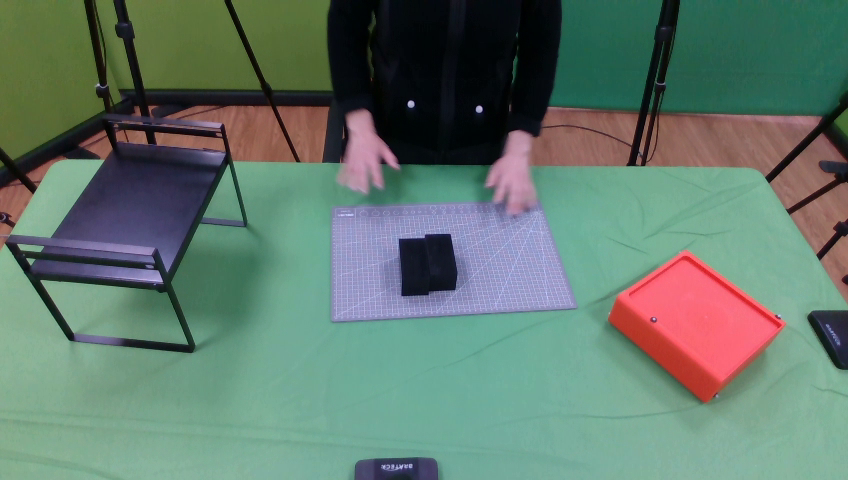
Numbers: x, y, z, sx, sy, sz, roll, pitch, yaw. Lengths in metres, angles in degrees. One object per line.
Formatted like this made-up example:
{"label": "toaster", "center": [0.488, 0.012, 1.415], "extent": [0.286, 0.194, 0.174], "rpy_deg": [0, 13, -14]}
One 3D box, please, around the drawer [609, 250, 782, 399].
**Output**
{"label": "drawer", "center": [0.469, 0.140, 1.057], "extent": [0.194, 0.073, 0.210], "rpy_deg": [-28, 55, -27]}

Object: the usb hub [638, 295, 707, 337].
{"label": "usb hub", "center": [0.440, 0.134, 1.072], "extent": [0.125, 0.025, 0.049], "rpy_deg": [-15, 35, -28]}

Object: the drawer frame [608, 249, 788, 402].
{"label": "drawer frame", "center": [0.470, 0.139, 1.053], "extent": [0.202, 0.083, 0.212], "rpy_deg": [-28, 55, -28]}
